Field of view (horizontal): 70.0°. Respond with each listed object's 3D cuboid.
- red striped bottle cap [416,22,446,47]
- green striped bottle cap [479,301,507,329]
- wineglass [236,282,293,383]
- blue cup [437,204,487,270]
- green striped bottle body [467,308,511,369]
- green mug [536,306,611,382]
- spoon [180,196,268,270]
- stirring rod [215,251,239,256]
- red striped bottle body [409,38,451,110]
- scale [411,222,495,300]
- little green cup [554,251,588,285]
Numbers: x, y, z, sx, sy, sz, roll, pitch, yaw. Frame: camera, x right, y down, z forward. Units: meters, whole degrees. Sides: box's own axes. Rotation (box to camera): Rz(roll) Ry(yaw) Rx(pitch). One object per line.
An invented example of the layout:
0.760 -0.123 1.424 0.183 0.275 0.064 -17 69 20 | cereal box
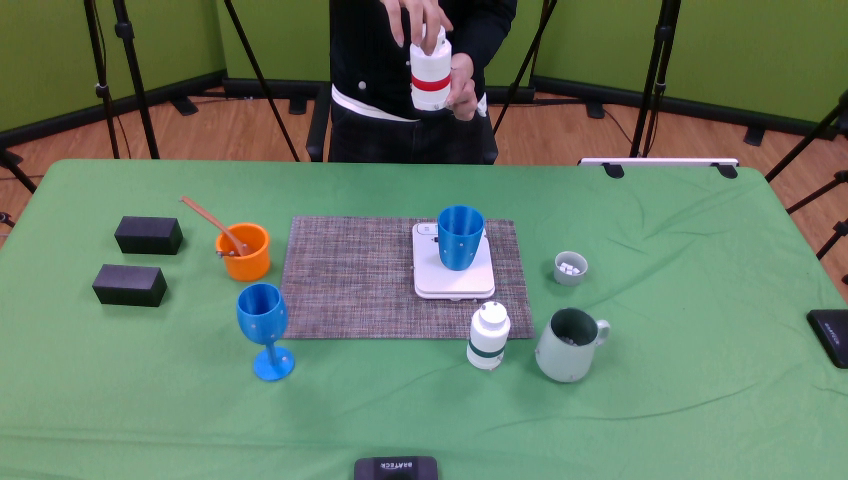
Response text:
0.010 -0.302 0.890 0.044 0.018 0.044 -1 48 1 | red striped bottle cap
0.109 0.118 0.950 0.044 0.020 0.044 2 47 -2 | green striped bottle cap
-0.243 0.143 0.934 0.074 0.173 0.073 2 46 -2 | wineglass
0.063 0.001 1.098 0.093 0.101 0.092 2 43 -2 | blue cup
0.106 0.153 0.988 0.063 0.120 0.063 2 46 -2 | green striped bottle body
0.250 0.167 0.996 0.125 0.105 0.092 -15 48 -19 | green mug
-0.360 -0.014 1.094 0.021 0.194 0.041 -27 26 31 | spoon
-0.339 0.024 1.059 0.014 0.176 0.006 16 86 -6 | stirring rod
0.010 -0.267 0.932 0.063 0.120 0.062 -1 50 1 | red striped bottle body
0.052 0.031 1.158 0.149 0.032 0.199 1 46 -4 | scale
0.277 0.055 1.151 0.061 0.039 0.061 1 46 -1 | little green cup
